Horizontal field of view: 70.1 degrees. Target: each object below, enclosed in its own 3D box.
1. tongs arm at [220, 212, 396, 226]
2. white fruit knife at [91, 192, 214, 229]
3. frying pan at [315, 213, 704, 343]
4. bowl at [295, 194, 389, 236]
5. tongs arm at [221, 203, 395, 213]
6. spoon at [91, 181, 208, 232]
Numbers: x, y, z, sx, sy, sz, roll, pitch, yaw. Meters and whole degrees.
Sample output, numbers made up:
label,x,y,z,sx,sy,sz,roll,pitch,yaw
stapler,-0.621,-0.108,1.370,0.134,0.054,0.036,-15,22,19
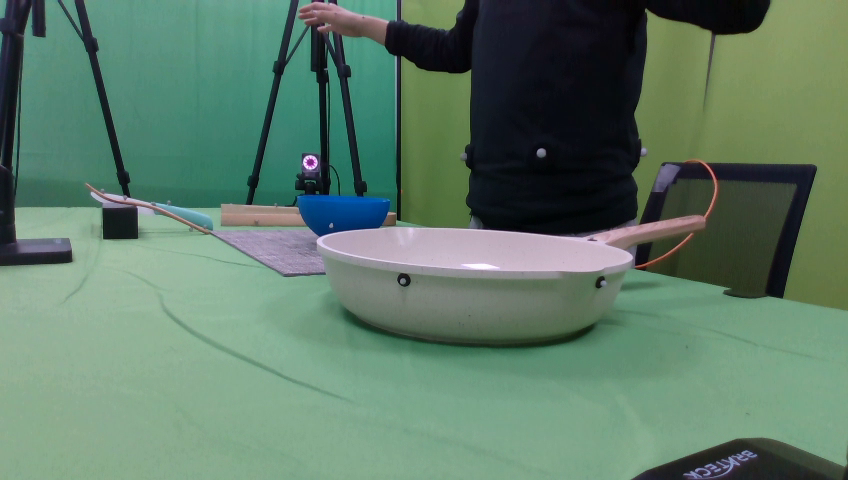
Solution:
label,x,y,z,sx,sy,sz,roll,pitch,yaw
tongs arm,-0.233,-0.046,1.292,0.389,0.028,0.028,-1,6,-27
white fruit knife,-0.477,-0.055,1.077,0.208,0.027,0.016,15,-5,-30
frying pan,0.133,0.014,0.629,0.490,0.102,0.305,-11,14,-29
bowl,-0.132,-0.032,0.980,0.151,0.077,0.151,2,7,0
tongs arm,-0.258,-0.061,1.368,0.386,0.026,0.050,1,8,-14
spoon,-0.461,-0.053,1.023,0.195,0.021,0.041,21,22,-24
